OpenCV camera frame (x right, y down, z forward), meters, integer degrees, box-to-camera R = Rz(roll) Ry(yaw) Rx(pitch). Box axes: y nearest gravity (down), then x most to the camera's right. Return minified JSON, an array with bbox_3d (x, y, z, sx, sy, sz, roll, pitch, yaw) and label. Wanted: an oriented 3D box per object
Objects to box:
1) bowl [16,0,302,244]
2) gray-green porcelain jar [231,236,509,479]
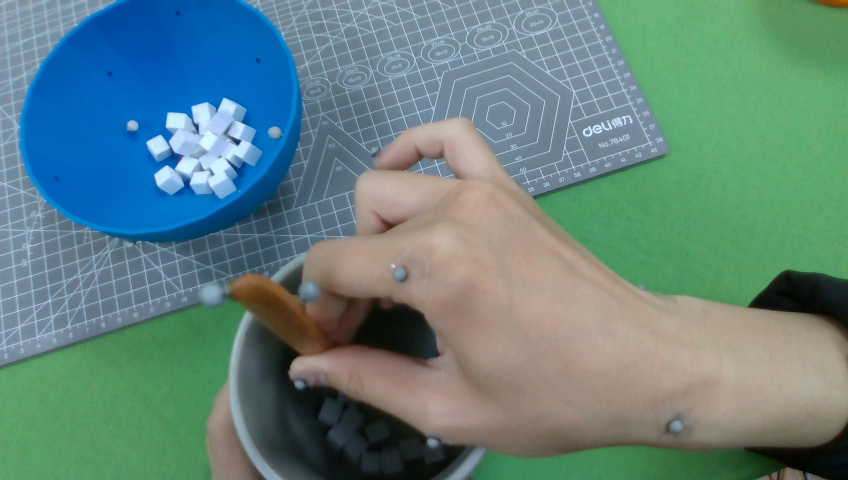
[{"bbox_3d":[-0.138,-0.059,0.355,0.151,0.077,0.150,-1,71,3],"label":"bowl"},{"bbox_3d":[-0.016,0.068,0.283,0.106,0.127,0.105,-1,71,4],"label":"gray-green porcelain jar"}]
